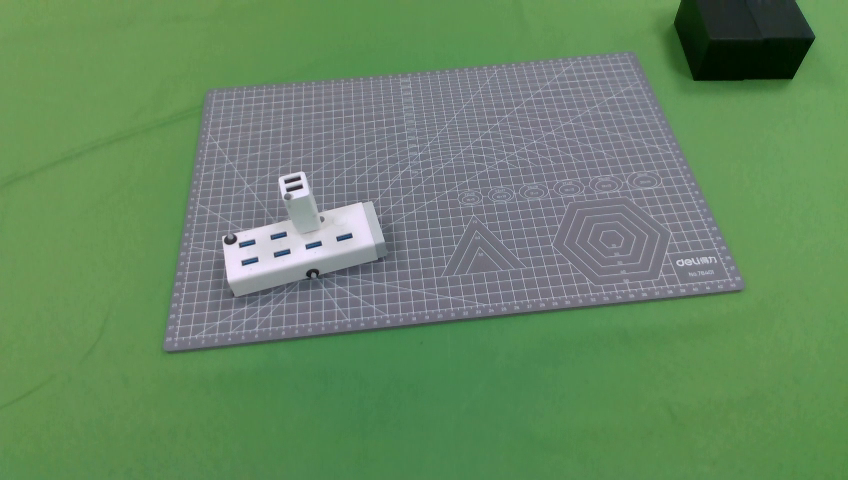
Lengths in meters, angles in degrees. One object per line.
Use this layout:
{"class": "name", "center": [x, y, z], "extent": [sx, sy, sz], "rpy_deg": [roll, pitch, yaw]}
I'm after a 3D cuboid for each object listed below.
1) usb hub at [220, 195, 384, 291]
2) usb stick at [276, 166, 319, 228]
{"class": "usb hub", "center": [-0.099, 0.001, 0.493], "extent": [0.125, 0.025, 0.049], "rpy_deg": [-14, 55, -9]}
{"class": "usb stick", "center": [-0.098, -0.029, 0.478], "extent": [0.021, 0.060, 0.027], "rpy_deg": [-17, 55, -7]}
